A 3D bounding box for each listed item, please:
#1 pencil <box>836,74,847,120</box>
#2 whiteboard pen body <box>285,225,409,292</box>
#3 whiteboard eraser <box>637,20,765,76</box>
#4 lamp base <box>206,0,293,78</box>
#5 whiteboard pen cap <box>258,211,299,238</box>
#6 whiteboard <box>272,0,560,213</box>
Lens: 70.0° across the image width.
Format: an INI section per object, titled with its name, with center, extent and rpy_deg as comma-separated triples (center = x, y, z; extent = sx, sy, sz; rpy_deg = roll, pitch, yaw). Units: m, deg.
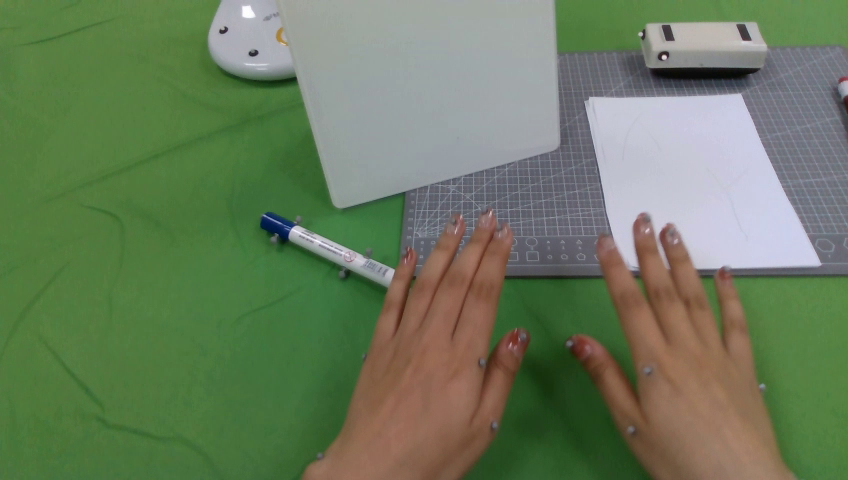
[pencil]
center = 0.385, -0.083, 0.534
extent = 0.012, 0.012, 0.192
rpy_deg = 8, 54, 11
[whiteboard pen body]
center = -0.074, 0.010, 0.493
extent = 0.140, 0.017, 0.017
rpy_deg = 23, 56, 22
[whiteboard eraser]
center = 0.276, -0.194, 0.611
extent = 0.112, 0.042, 0.055
rpy_deg = 2, 53, 6
[lamp base]
center = -0.182, -0.292, 0.639
extent = 0.177, 0.182, 0.160
rpy_deg = 34, 61, 30
[whiteboard pen cap]
center = -0.123, -0.013, 0.514
extent = 0.033, 0.018, 0.018
rpy_deg = 22, 56, 24
[whiteboard]
center = -0.018, -0.213, 0.520
extent = 0.217, 0.308, 0.142
rpy_deg = -16, 32, -7
